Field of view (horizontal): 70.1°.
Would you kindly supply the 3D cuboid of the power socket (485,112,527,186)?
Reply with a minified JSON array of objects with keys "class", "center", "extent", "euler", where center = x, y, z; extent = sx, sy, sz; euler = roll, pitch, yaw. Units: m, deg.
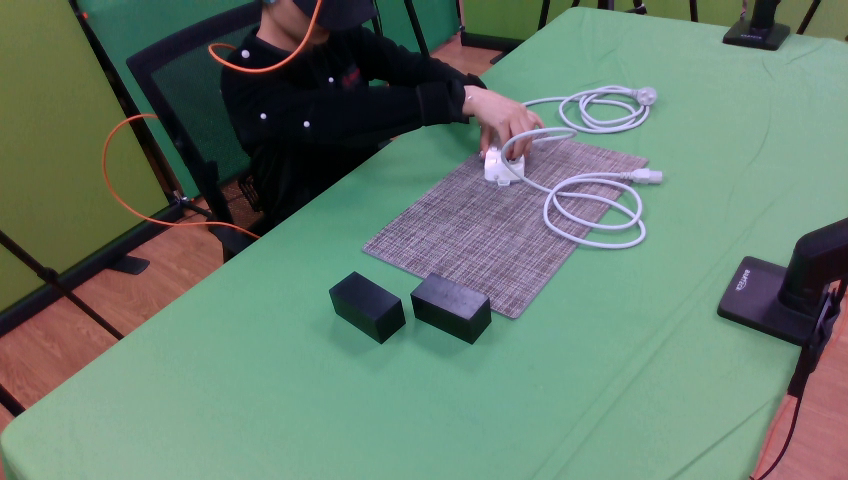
[{"class":"power socket","center":[0.159,-0.181,1.153],"extent":[0.072,0.033,0.226],"euler":[0,41,11]}]

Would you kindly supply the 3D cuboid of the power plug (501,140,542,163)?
[{"class":"power plug","center":[0.172,-0.150,1.077],"extent":[0.072,0.053,0.035],"euler":[5,44,22]}]
